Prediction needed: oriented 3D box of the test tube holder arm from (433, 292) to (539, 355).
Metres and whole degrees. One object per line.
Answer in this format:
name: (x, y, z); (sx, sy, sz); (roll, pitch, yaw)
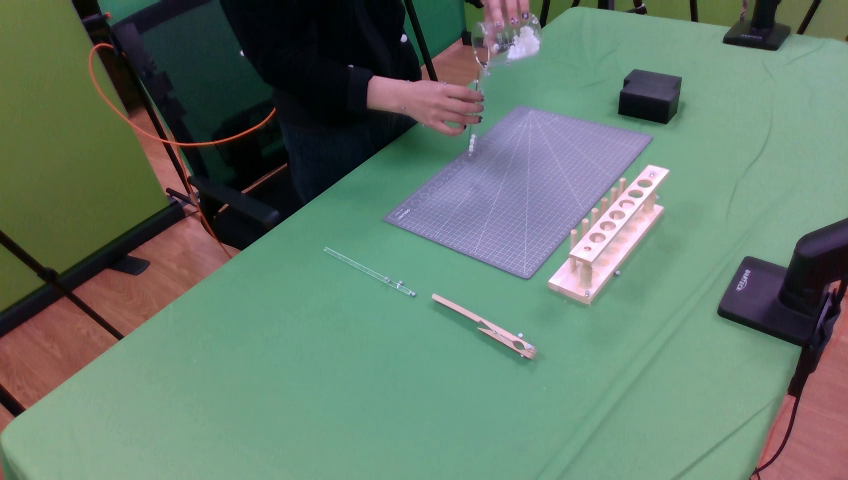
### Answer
test tube holder arm: (0.081, 0.113, 0.832); (0.177, 0.015, 0.013); (28, 82, 36)

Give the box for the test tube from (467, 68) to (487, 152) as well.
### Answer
test tube: (0.092, -0.225, 1.057); (0.017, 0.150, 0.017); (5, 31, -3)

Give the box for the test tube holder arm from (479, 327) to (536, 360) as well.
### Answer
test tube holder arm: (0.110, 0.134, 0.805); (0.087, 0.015, 0.010); (29, 83, 36)

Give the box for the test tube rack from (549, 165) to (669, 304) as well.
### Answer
test tube rack: (0.279, -0.018, 0.902); (0.066, 0.085, 0.243); (24, 50, 33)

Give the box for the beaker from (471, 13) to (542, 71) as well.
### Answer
beaker: (0.139, -0.331, 1.006); (0.100, 0.084, 0.073); (-16, 37, -11)

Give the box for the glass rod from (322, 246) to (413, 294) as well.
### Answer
glass rod: (-0.093, 0.045, 0.956); (0.198, 0.008, 0.008); (24, 51, 33)
